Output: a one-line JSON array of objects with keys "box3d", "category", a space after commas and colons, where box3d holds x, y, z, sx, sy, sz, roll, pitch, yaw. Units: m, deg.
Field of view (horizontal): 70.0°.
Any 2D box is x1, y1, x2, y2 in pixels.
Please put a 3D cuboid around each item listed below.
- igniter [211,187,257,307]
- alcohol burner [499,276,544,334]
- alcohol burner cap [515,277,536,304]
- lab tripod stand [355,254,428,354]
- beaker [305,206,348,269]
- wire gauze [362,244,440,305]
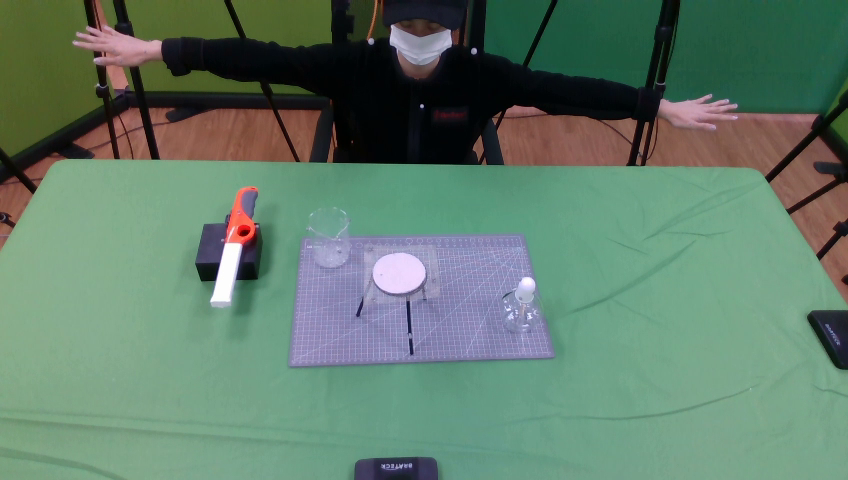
[{"box3d": [-0.343, 0.003, 1.100, 0.057, 0.025, 0.274, 2, 49, -4], "category": "igniter"}, {"box3d": [0.170, 0.106, 1.041, 0.078, 0.120, 0.077, 1, 44, -1], "category": "alcohol burner"}, {"box3d": [0.171, 0.082, 1.015, 0.034, 0.048, 0.033, 0, 52, 0], "category": "alcohol burner cap"}, {"box3d": [-0.046, 0.100, 1.017, 0.148, 0.132, 0.147, 1, 47, -1], "category": "lab tripod stand"}, {"box3d": [-0.176, 0.001, 1.126, 0.074, 0.101, 0.083, -14, 49, -16], "category": "beaker"}, {"box3d": [-0.038, 0.051, 0.971, 0.121, 0.011, 0.124, -1, 46, -4], "category": "wire gauze"}]
